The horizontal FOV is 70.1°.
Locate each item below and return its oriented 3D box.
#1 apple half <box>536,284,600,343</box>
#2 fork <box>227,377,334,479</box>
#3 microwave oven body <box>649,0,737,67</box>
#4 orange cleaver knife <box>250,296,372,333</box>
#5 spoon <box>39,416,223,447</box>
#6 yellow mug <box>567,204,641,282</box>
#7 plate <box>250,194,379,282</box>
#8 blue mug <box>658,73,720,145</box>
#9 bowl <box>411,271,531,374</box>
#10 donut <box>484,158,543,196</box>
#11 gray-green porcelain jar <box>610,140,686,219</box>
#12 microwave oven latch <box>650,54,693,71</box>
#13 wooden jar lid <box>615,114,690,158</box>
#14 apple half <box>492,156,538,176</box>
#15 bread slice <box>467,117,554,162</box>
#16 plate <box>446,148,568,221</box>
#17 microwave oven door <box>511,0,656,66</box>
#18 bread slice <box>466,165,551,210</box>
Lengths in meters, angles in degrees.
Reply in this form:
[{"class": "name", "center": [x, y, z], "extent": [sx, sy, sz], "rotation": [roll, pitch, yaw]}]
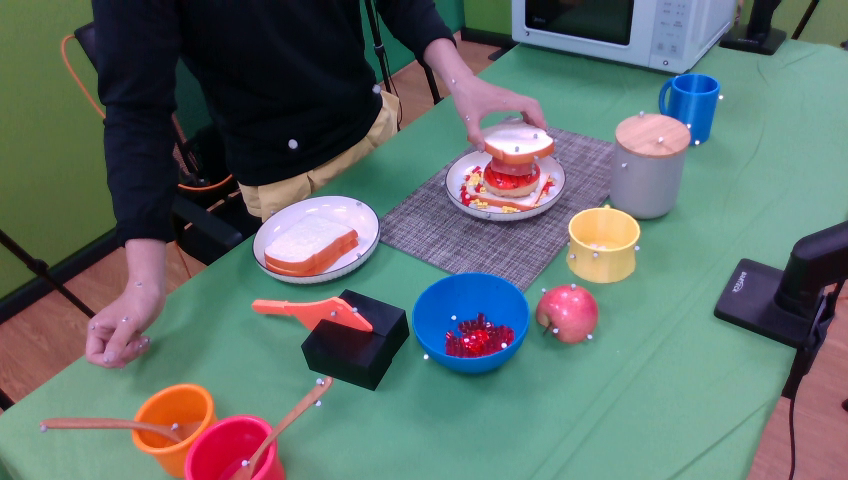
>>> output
[{"class": "apple half", "center": [0.196, 0.091, 0.815], "extent": [0.075, 0.053, 0.080], "rotation": [-22, 42, -20]}, {"class": "fork", "center": [-0.163, 0.216, 0.647], "extent": [0.207, 0.019, 0.028], "rotation": [-49, 41, 16]}, {"class": "microwave oven body", "center": [0.475, -0.602, 1.411], "extent": [0.438, 0.261, 0.327], "rotation": [23, 50, 32]}, {"class": "orange cleaver knife", "center": [-0.158, 0.103, 0.828], "extent": [0.210, 0.078, 0.012], "rotation": [-4, 43, 39]}, {"class": "spoon", "center": [-0.320, 0.209, 0.677], "extent": [0.021, 0.195, 0.041], "rotation": [-53, 41, 15]}, {"class": "yellow mug", "center": [0.268, -0.005, 0.905], "extent": [0.099, 0.064, 0.130], "rotation": [6, 42, 15]}, {"class": "plate", "center": [-0.174, -0.001, 0.984], "extent": [0.209, 0.038, 0.208], "rotation": [-3, 40, 3]}, {"class": "blue mug", "center": [0.483, -0.250, 1.127], "extent": [0.082, 0.106, 0.115], "rotation": [-26, 44, -19]}, {"class": "bowl", "center": [0.062, 0.119, 0.780], "extent": [0.151, 0.077, 0.150], "rotation": [-4, 40, 4]}, {"class": "donut", "center": [0.150, -0.112, 1.018], "extent": [0.099, 0.048, 0.098], "rotation": [-4, 40, 4]}, {"class": "gray-green porcelain jar", "center": [0.354, -0.106, 0.964], "extent": [0.106, 0.127, 0.105], "rotation": [-4, 41, 4]}, {"class": "microwave oven latch", "center": [0.531, -0.386, 1.301], "extent": [0.078, 0.029, 0.030], "rotation": [26, 51, 33]}, {"class": "wooden jar lid", "center": [0.347, -0.155, 0.923], "extent": [0.108, 0.021, 0.108], "rotation": [-3, 44, 4]}, {"class": "apple half", "center": [0.150, -0.139, 0.995], "extent": [0.081, 0.033, 0.081], "rotation": [1, 38, 0]}, {"class": "bread slice", "center": [0.144, -0.161, 0.964], "extent": [0.105, 0.019, 0.130], "rotation": [-19, 36, -19]}, {"class": "plate", "center": [0.142, -0.097, 1.045], "extent": [0.207, 0.039, 0.206], "rotation": [-4, 40, 4]}, {"class": "microwave oven door", "center": [0.350, -0.539, 1.348], "extent": [0.353, 0.245, 0.039], "rotation": [24, 50, 31]}, {"class": "bread slice", "center": [0.141, -0.093, 1.042], "extent": [0.133, 0.018, 0.107], "rotation": [9, 43, 20]}]
